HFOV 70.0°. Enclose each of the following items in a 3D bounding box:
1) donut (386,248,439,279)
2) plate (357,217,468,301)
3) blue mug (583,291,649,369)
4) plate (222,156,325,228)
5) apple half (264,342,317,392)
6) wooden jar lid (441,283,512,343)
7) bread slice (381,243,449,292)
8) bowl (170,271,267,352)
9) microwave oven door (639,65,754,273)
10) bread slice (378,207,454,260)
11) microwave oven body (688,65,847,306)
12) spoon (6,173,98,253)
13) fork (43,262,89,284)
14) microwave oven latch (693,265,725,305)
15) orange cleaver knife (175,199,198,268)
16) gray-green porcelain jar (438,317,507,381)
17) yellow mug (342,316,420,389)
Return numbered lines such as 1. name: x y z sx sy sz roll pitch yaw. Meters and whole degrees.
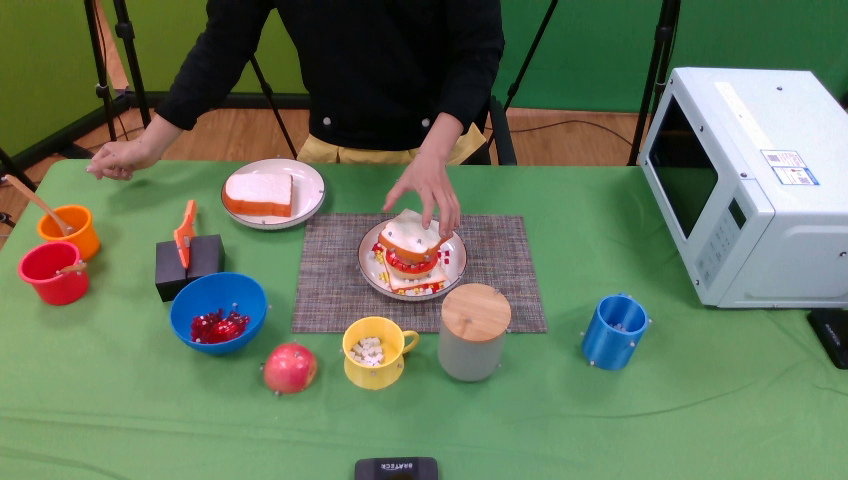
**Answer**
1. donut: -0.021 0.029 1.110 0.099 0.048 0.098 2 46 -2
2. plate: -0.022 0.037 1.141 0.208 0.039 0.206 2 46 -2
3. blue mug: 0.324 0.142 1.023 0.082 0.106 0.116 15 47 11
4. plate: -0.308 -0.095 1.251 0.209 0.038 0.208 3 46 -3
5. apple half: -0.214 0.198 0.970 0.074 0.053 0.080 19 48 11
6. wooden jar lid: 0.080 0.114 0.931 0.108 0.021 0.107 1 49 -1
7. bread slice: -0.027 0.039 1.139 0.107 0.018 0.133 -12 47 -16
8. bowl: -0.333 0.132 1.006 0.151 0.077 0.150 2 46 -2
9. microwave oven door: 0.522 -0.147 1.192 0.039 0.245 0.353 0 47 -3
10. bread slice: -0.016 -0.011 1.065 0.104 0.019 0.131 27 35 15
11. microwave oven body: 0.669 -0.111 1.176 0.326 0.261 0.439 0 46 -3
12. spoon: -0.678 -0.050 1.106 0.021 0.194 0.041 -19 27 43
13. fork: -0.599 0.053 1.013 0.207 0.019 0.028 -14 30 45
14. microwave oven latch: 0.523 0.081 1.115 0.030 0.029 0.078 2 46 -1
15. orange cleaver knife: -0.438 -0.017 1.138 0.012 0.077 0.210 -14 27 -7
16. gray-green porcelain jar: 0.076 0.158 0.977 0.106 0.127 0.105 2 46 -2
17. yellow mug: -0.067 0.177 0.990 0.131 0.064 0.099 -16 50 -19
